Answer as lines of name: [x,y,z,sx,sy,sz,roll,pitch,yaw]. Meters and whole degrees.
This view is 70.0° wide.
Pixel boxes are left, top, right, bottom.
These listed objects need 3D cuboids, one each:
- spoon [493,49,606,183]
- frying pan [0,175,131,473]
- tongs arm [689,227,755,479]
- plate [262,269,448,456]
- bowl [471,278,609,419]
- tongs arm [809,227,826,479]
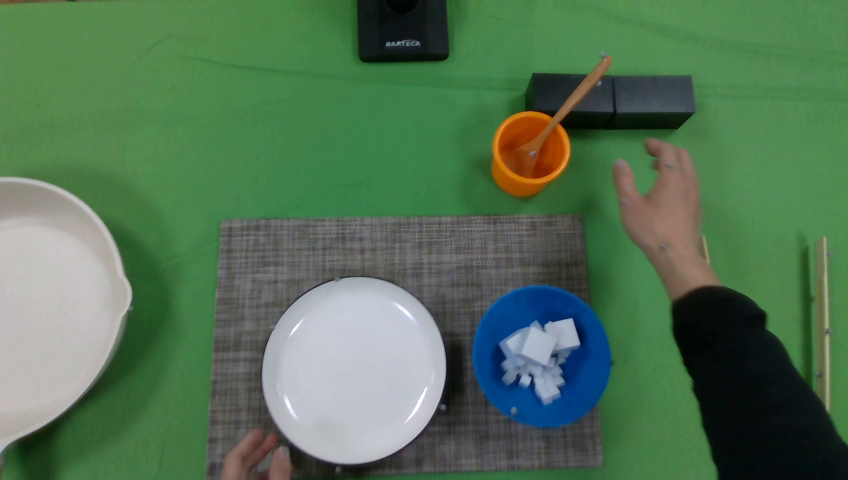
spoon: [0.147,-0.142,0.714,0.041,0.194,0.021,47,35,12]
frying pan: [-0.465,0.171,0.641,0.307,0.103,0.484,-4,69,-2]
tongs arm: [0.365,0.171,0.715,0.028,0.028,0.385,-7,78,-6]
plate: [-0.076,0.138,0.695,0.208,0.039,0.206,1,77,-2]
bowl: [0.124,0.123,0.685,0.151,0.077,0.150,1,77,-2]
tongs arm: [0.447,0.172,0.713,0.051,0.026,0.383,5,78,0]
